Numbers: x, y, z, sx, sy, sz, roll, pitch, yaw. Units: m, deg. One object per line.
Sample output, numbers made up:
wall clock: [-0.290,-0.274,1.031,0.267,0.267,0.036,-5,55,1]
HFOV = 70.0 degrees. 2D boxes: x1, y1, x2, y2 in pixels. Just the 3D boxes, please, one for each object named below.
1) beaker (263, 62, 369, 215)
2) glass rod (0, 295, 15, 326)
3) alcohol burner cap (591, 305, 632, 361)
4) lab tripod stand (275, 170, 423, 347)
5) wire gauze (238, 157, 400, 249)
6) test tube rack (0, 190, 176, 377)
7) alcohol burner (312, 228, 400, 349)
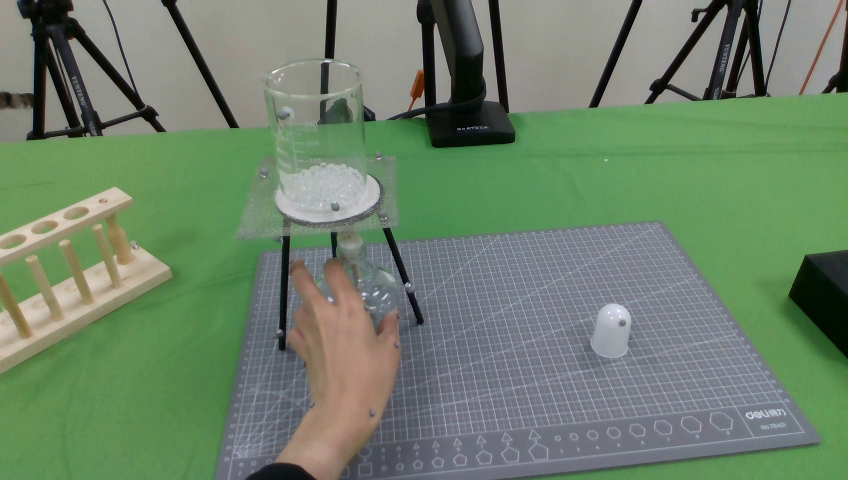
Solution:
beaker: [-0.083,-0.078,0.471,0.083,0.101,0.074,20,40,24]
glass rod: [-0.383,-0.009,0.513,0.008,0.201,0.008,0,29,1]
alcohol burner cap: [0.164,0.078,0.523,0.034,0.048,0.033,-1,37,1]
lab tripod stand: [-0.072,0.015,0.539,0.148,0.132,0.147,1,35,0]
wire gauze: [-0.081,-0.037,0.498,0.121,0.011,0.124,-3,38,-2]
test tube rack: [-0.360,0.050,0.544,0.066,0.086,0.242,25,44,32]
alcohol burner: [-0.060,0.037,0.525,0.078,0.120,0.077,1,38,0]
